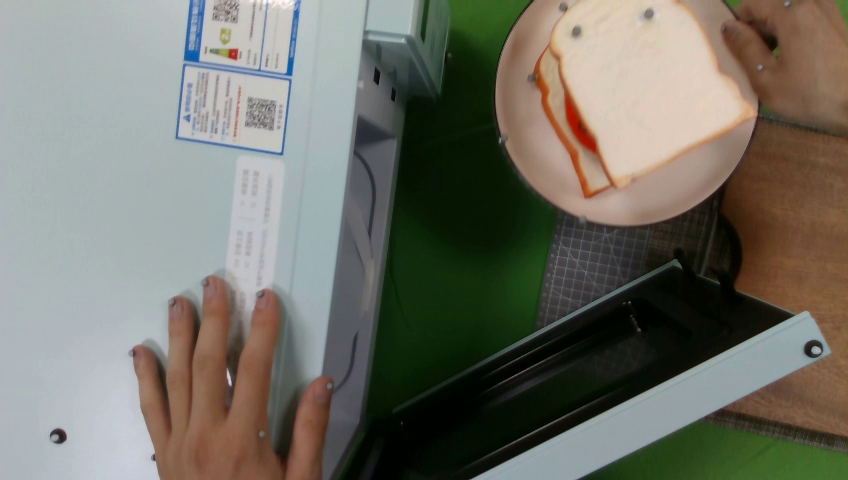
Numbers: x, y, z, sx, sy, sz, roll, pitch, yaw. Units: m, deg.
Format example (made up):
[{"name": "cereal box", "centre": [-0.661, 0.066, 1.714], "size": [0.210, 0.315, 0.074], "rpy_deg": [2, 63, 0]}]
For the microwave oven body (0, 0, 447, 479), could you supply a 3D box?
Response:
[{"name": "microwave oven body", "centre": [-0.174, -0.021, 0.497], "size": [0.326, 0.260, 0.442], "rpy_deg": [8, 97, 4]}]

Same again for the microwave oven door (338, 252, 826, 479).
[{"name": "microwave oven door", "centre": [0.086, 0.125, 0.485], "size": [0.356, 0.243, 0.039], "rpy_deg": [-30, 92, 7]}]

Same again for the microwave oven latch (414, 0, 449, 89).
[{"name": "microwave oven latch", "centre": [0.006, -0.183, 0.561], "size": [0.030, 0.029, 0.079], "rpy_deg": [9, 97, 4]}]

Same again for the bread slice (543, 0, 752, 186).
[{"name": "bread slice", "centre": [0.148, -0.117, 0.432], "size": [0.107, 0.018, 0.134], "rpy_deg": [-32, 85, 3]}]

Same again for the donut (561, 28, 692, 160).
[{"name": "donut", "centre": [0.153, -0.110, 0.461], "size": [0.099, 0.048, 0.099], "rpy_deg": [0, 92, -2]}]

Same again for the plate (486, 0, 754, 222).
[{"name": "plate", "centre": [0.153, -0.118, 0.489], "size": [0.207, 0.039, 0.207], "rpy_deg": [0, 91, 2]}]

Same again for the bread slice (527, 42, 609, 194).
[{"name": "bread slice", "centre": [0.145, -0.116, 0.490], "size": [0.105, 0.019, 0.131], "rpy_deg": [-28, 91, 0]}]
